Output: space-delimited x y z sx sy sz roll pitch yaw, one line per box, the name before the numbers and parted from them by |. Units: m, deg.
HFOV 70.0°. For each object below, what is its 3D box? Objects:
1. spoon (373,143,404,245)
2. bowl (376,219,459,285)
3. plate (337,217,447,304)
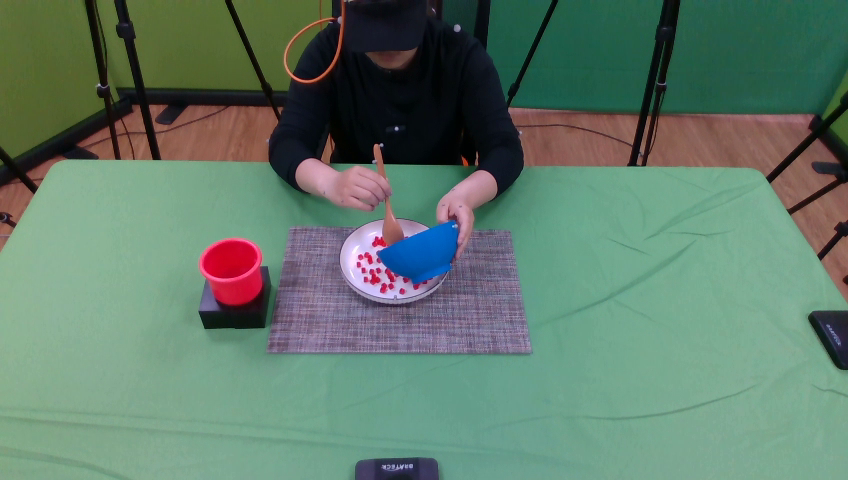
spoon | -0.070 -0.079 1.086 0.041 0.194 0.021 -6 16 12
bowl | 0.000 0.028 1.050 0.151 0.151 0.077 -22 87 -22
plate | -0.058 0.042 1.136 0.208 0.039 0.206 2 46 -2
